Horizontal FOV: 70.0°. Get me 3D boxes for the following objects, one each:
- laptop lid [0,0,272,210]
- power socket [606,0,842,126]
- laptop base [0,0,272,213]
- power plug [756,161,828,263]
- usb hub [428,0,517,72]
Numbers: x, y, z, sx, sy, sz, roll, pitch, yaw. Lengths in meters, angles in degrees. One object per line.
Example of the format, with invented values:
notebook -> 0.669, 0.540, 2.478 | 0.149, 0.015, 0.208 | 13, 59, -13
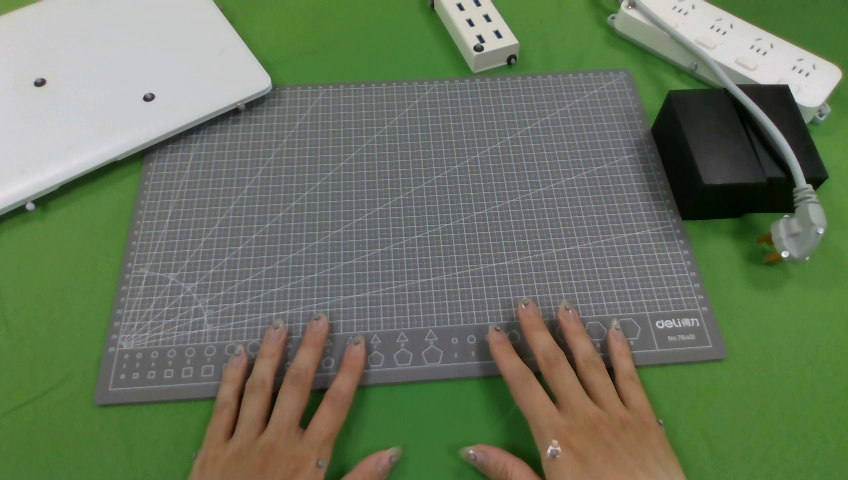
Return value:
laptop lid -> -0.346, -0.142, 0.549 | 0.357, 0.013, 0.239 | -29, 65, -16
power socket -> 0.288, -0.186, 0.588 | 0.225, 0.033, 0.072 | 37, 65, 20
laptop base -> -0.347, -0.137, 0.561 | 0.354, 0.023, 0.233 | -30, 67, -17
power plug -> 0.285, -0.017, 0.473 | 0.035, 0.052, 0.072 | 20, 61, -22
usb hub -> 0.045, -0.225, 0.613 | 0.049, 0.025, 0.124 | -19, 61, -11
